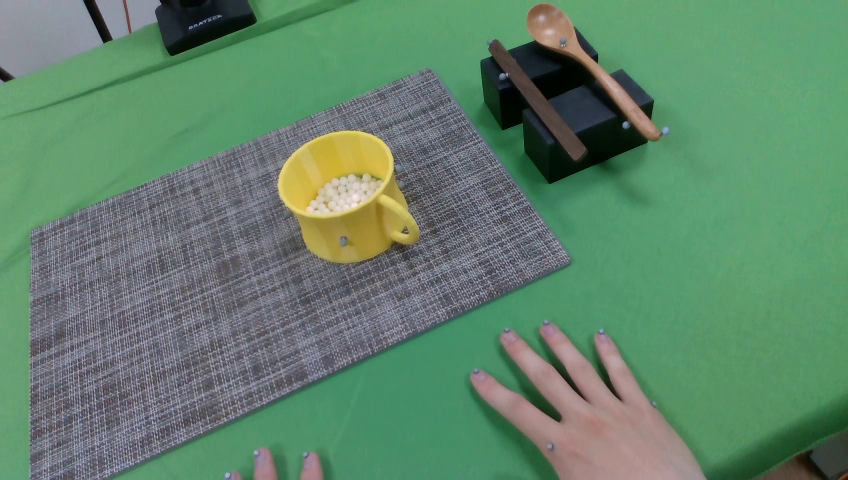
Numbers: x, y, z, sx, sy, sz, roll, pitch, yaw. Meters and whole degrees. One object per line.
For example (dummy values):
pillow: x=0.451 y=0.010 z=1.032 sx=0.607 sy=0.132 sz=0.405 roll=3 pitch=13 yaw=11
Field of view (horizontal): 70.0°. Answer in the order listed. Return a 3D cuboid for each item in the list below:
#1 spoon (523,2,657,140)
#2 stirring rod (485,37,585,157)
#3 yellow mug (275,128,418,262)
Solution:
spoon: x=0.145 y=-0.155 z=0.540 sx=0.041 sy=0.022 sz=0.191 roll=-24 pitch=55 yaw=-8
stirring rod: x=0.094 y=-0.132 z=0.536 sx=0.014 sy=0.006 sz=0.174 roll=-47 pitch=48 yaw=25
yellow mug: x=-0.058 y=-0.034 z=0.522 sx=0.130 sy=0.064 sz=0.099 roll=26 pitch=63 yaw=26
